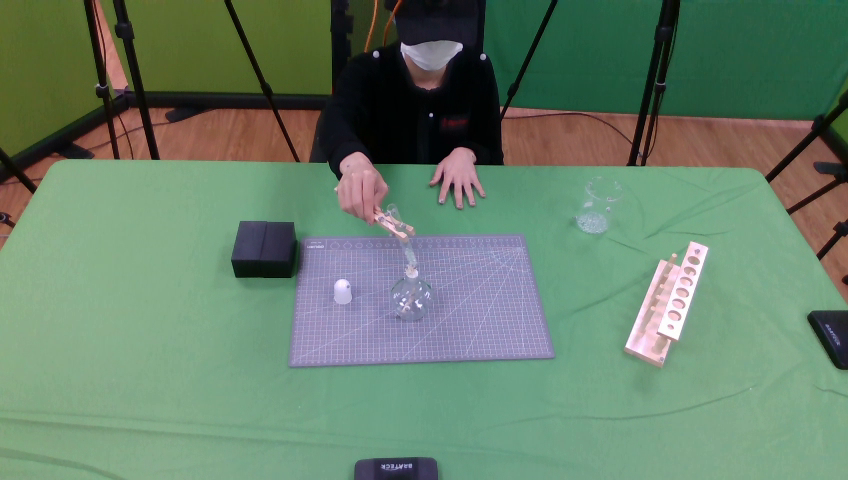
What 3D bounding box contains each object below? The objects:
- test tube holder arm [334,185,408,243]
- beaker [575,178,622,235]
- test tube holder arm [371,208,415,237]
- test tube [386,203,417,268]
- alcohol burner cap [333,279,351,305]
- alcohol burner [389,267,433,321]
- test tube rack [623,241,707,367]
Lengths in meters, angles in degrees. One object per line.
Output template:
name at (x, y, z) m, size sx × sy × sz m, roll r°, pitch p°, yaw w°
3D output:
test tube holder arm at (-0.087, -0.044, 0.959) m, size 0.013 × 0.015 × 0.177 m, roll -42°, pitch 53°, yaw -20°
beaker at (0.356, -0.068, 1.240) m, size 0.084 × 0.101 × 0.073 m, roll -18°, pitch 50°, yaw -21°
test tube holder arm at (-0.051, -0.028, 0.937) m, size 0.087 × 0.015 × 0.010 m, roll 25°, pitch 62°, yaw 31°
test tube at (-0.033, -0.003, 0.938) m, size 0.017 × 0.151 × 0.017 m, roll -7°, pitch 51°, yaw 10°
alcohol burner cap at (-0.147, 0.090, 1.083) m, size 0.034 × 0.048 × 0.033 m, roll 3°, pitch 46°, yaw -2°
alcohol burner at (-0.022, 0.085, 1.046) m, size 0.078 × 0.119 × 0.077 m, roll 2°, pitch 48°, yaw -3°
test tube rack at (0.435, 0.104, 1.089) m, size 0.066 × 0.085 × 0.242 m, roll 24°, pitch 49°, yaw 19°
